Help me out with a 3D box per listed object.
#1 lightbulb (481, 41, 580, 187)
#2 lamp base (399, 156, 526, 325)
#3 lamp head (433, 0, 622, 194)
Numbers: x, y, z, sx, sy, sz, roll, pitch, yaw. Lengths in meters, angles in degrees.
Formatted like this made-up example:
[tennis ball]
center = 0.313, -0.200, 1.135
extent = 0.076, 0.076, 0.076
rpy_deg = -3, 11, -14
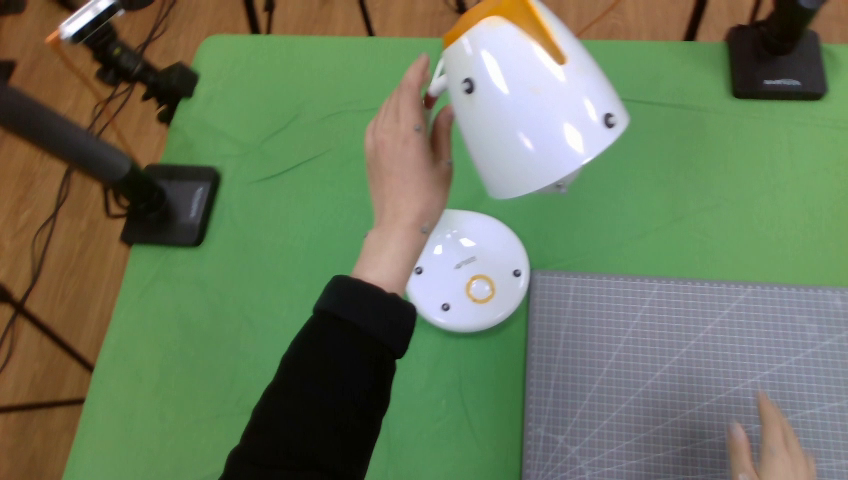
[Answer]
[lightbulb]
center = 0.071, -0.088, 0.427
extent = 0.059, 0.059, 0.108
rpy_deg = -31, 108, -7
[lamp base]
center = 0.032, -0.008, 0.700
extent = 0.160, 0.182, 0.177
rpy_deg = -37, 66, -10
[lamp head]
center = 0.059, -0.110, 0.425
extent = 0.112, 0.112, 0.123
rpy_deg = -39, 103, -10
